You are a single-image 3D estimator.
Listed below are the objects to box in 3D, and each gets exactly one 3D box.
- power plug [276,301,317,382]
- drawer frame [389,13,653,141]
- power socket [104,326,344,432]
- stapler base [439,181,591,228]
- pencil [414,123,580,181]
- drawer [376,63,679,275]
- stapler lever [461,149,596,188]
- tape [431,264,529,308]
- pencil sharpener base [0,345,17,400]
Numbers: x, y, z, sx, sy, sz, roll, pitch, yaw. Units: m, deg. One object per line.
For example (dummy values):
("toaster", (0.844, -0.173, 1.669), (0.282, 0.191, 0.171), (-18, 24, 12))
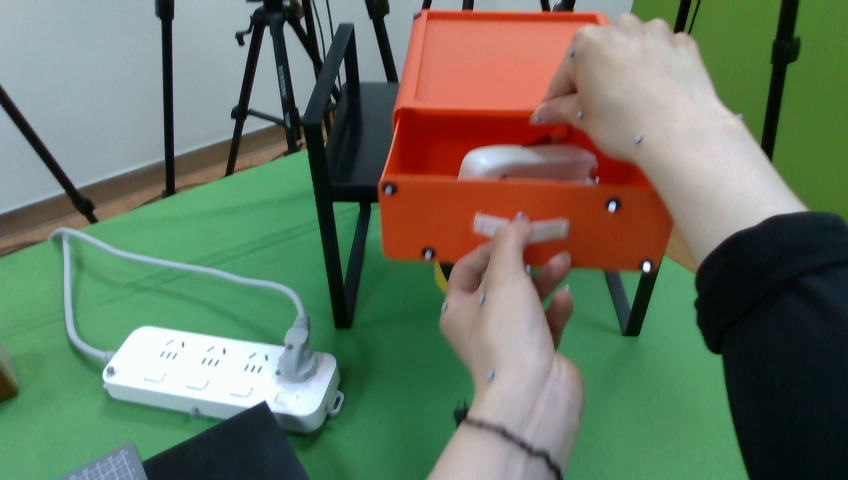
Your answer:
("power plug", (-0.109, 0.100, 0.561), (0.035, 0.053, 0.072), (14, 42, 17))
("drawer frame", (0.078, -0.132, 0.557), (0.201, 0.083, 0.211), (1, 39, 2))
("power socket", (-0.187, 0.127, 0.565), (0.226, 0.033, 0.071), (7, 39, 9))
("stapler base", (0.076, -0.031, 0.475), (0.131, 0.024, 0.041), (-1, 45, -27))
("pencil", (0.053, -0.069, 0.522), (0.194, 0.012, 0.012), (-21, 44, -17))
("drawer", (0.073, -0.068, 0.482), (0.194, 0.074, 0.210), (2, 39, 4))
("stapler lever", (0.083, -0.048, 0.462), (0.118, 0.040, 0.026), (-3, 46, -25))
("tape", (0.065, 0.018, 0.682), (0.117, 0.053, 0.115), (0, 41, 0))
("pencil sharpener base", (-0.426, 0.104, 0.535), (0.077, 0.108, 0.060), (-28, 47, -28))
